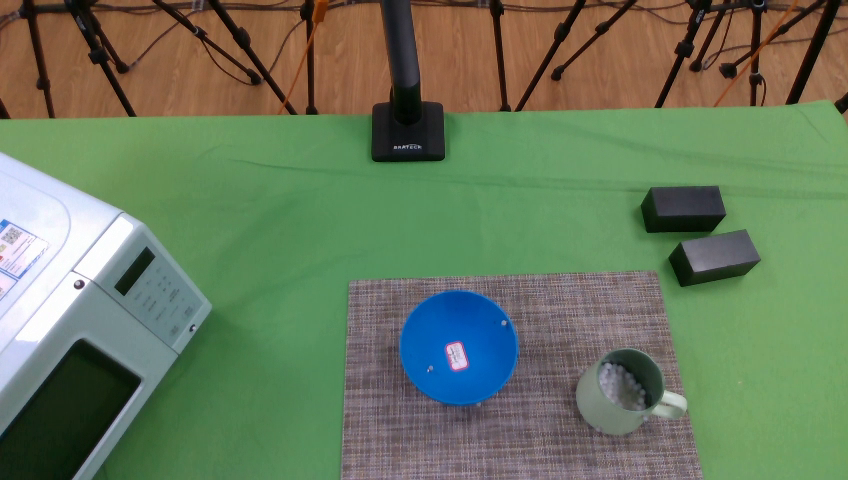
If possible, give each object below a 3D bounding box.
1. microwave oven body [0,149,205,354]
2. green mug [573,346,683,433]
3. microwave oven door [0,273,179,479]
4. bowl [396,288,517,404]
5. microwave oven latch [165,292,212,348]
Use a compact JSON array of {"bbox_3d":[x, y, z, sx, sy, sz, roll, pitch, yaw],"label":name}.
[{"bbox_3d":[-0.534,0.140,0.690,0.325,0.262,0.440,24,65,12],"label":"microwave oven body"},{"bbox_3d":[0.255,0.190,0.751,0.125,0.106,0.092,15,62,8],"label":"green mug"},{"bbox_3d":[-0.422,0.228,0.638,0.039,0.246,0.354,24,65,13],"label":"microwave oven door"},{"bbox_3d":[0.041,0.147,0.789,0.151,0.077,0.150,0,62,0],"label":"bowl"},{"bbox_3d":[-0.321,0.104,0.818,0.030,0.030,0.079,26,66,12],"label":"microwave oven latch"}]
